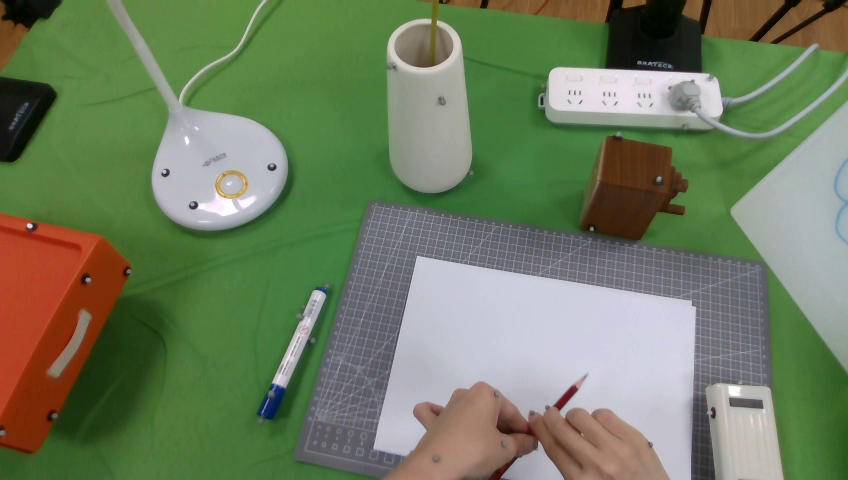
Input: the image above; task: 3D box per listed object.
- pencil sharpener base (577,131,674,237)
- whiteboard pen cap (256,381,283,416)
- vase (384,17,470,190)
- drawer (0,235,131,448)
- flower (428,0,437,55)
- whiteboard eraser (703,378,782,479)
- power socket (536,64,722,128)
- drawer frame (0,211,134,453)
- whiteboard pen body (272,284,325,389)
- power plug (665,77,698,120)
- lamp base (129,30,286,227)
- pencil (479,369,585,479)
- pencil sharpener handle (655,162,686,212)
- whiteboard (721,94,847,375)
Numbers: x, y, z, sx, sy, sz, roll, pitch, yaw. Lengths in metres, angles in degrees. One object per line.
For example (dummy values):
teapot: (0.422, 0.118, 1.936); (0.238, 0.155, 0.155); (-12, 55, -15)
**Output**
pencil sharpener base: (0.215, -0.057, 0.653); (0.076, 0.108, 0.061); (12, 63, 8)
whiteboard pen cap: (-0.152, 0.156, 0.600); (0.018, 0.018, 0.033); (14, 59, 10)
vase: (0.001, -0.139, 0.651); (0.098, 0.201, 0.097); (-1, 62, 3)
drawer: (-0.425, 0.071, 0.574); (0.211, 0.074, 0.193); (12, 65, 8)
flower: (0.008, -0.191, 0.585); (0.038, 0.365, 0.043); (-1, 44, -6)
whiteboard eraser: (0.293, 0.186, 0.560); (0.055, 0.042, 0.112); (5, 63, 2)
power socket: (0.256, -0.180, 0.757); (0.226, 0.033, 0.071); (4, 64, 4)
drawer frame: (-0.431, 0.073, 0.576); (0.213, 0.083, 0.200); (13, 65, 6)
whiteboard pen body: (-0.134, 0.108, 0.628); (0.017, 0.017, 0.140); (14, 60, 9)
power plug: (0.303, -0.162, 0.719); (0.035, 0.053, 0.072); (13, 66, 9)
lamp base: (-0.259, -0.129, 0.666); (0.160, 0.182, 0.178); (-41, 66, -18)
pencil: (0.077, 0.178, 0.518); (0.194, 0.012, 0.012); (-41, 68, -20)
pencil sharpener handle: (0.265, -0.052, 0.636); (0.030, 0.068, 0.036); (12, 62, 8)
whiteboard: (0.485, -0.045, 0.561); (0.144, 0.307, 0.215); (-11, 61, -25)
